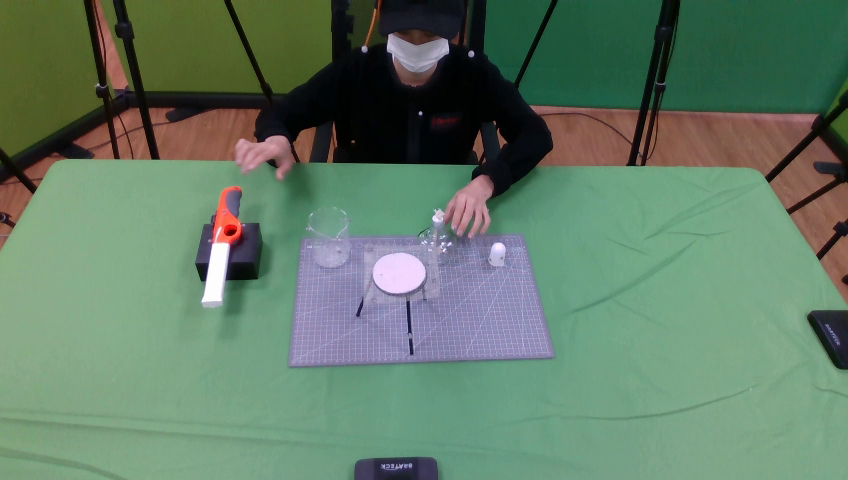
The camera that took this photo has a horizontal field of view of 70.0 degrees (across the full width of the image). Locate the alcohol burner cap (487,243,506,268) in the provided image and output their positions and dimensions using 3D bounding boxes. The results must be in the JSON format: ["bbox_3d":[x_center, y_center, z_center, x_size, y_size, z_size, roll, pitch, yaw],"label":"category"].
[{"bbox_3d":[0.141,0.027,1.166,0.034,0.048,0.033,2,45,-2],"label":"alcohol burner cap"}]

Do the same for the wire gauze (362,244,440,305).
[{"bbox_3d":[-0.038,0.051,0.971,0.121,0.011,0.124,-1,46,-4],"label":"wire gauze"}]

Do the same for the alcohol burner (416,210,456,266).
[{"bbox_3d":[0.023,-0.009,1.141,0.078,0.120,0.077,2,44,-2],"label":"alcohol burner"}]

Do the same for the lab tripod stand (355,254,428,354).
[{"bbox_3d":[-0.046,0.100,1.017,0.148,0.132,0.147,1,47,-1],"label":"lab tripod stand"}]

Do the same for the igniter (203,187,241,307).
[{"bbox_3d":[-0.365,0.003,1.098,0.057,0.025,0.274,-1,49,-7],"label":"igniter"}]

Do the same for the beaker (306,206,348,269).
[{"bbox_3d":[-0.177,0.001,1.126,0.074,0.101,0.083,-13,49,-16],"label":"beaker"}]
